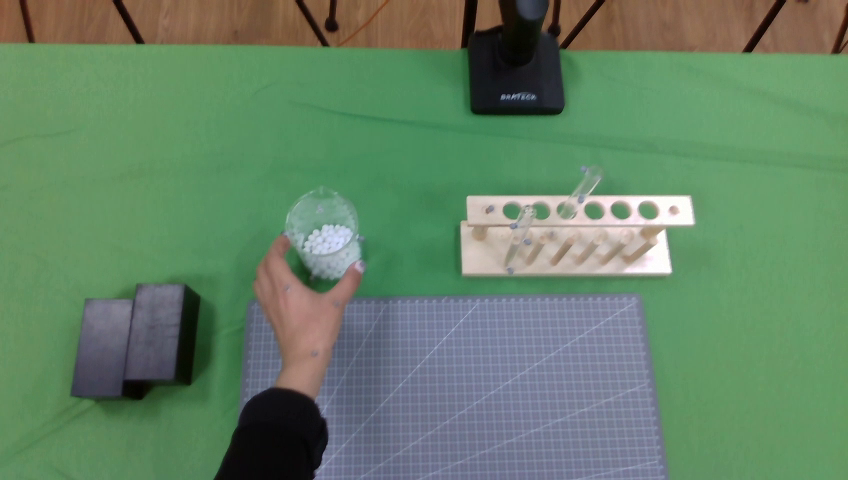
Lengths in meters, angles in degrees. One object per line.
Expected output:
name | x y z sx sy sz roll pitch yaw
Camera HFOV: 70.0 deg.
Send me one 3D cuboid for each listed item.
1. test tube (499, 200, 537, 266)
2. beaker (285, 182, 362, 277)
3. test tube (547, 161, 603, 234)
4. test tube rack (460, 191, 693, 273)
test tube | 0.096 -0.004 0.628 0.017 0.151 0.017 1 68 -1
beaker | -0.106 -0.007 0.661 0.074 0.101 0.083 -4 70 -4
test tube | 0.156 -0.040 0.638 0.017 0.151 0.017 2 68 -4
test tube rack | 0.166 -0.007 0.679 0.242 0.085 0.066 0 71 -2
